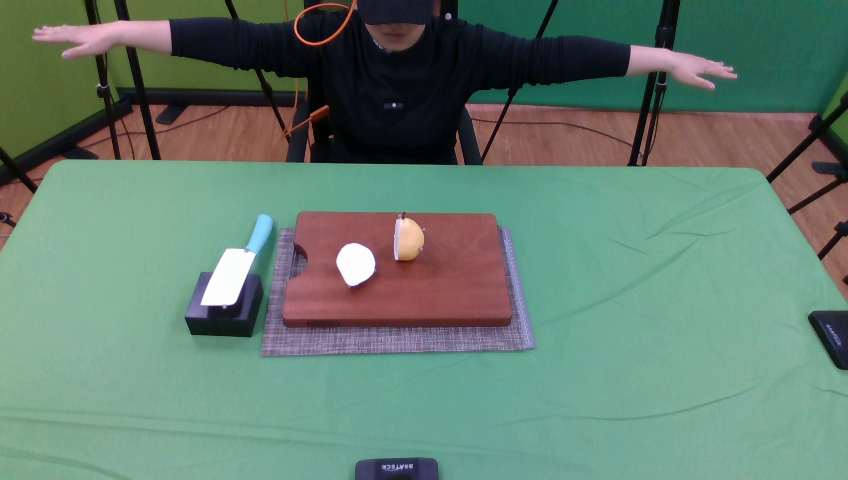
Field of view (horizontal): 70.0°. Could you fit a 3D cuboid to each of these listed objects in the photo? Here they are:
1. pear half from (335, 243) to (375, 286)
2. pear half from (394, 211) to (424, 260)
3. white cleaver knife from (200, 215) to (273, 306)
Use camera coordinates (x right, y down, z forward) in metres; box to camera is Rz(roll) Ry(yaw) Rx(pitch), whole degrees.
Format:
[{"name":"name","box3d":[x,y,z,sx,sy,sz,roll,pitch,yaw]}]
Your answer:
[{"name":"pear half","box3d":[-0.127,0.049,1.093,0.070,0.031,0.087,17,59,-8]},{"name":"pear half","box3d":[-0.027,-0.013,1.109,0.056,0.110,0.076,-7,51,-10]},{"name":"white cleaver knife","box3d":[-0.335,0.029,1.101,0.066,0.021,0.285,6,32,-1]}]
